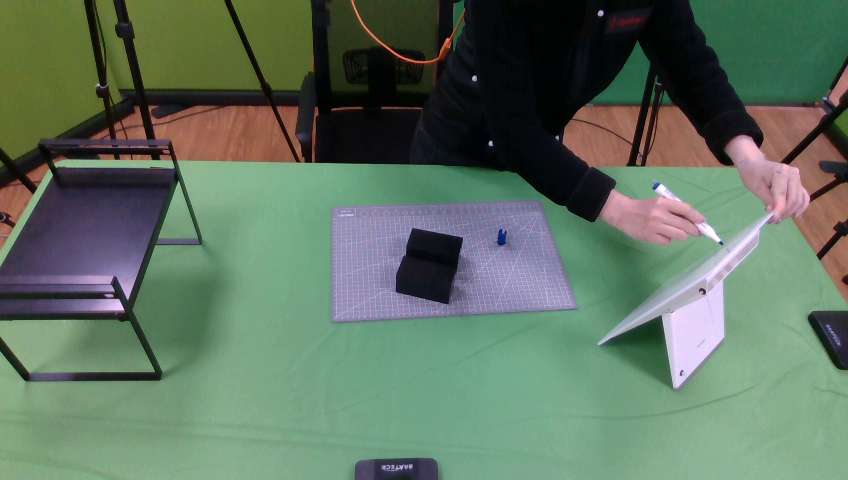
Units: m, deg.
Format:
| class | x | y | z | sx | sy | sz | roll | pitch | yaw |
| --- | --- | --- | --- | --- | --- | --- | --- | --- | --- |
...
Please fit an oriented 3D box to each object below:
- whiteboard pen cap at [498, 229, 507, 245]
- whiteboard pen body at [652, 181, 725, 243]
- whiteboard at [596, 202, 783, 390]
| class | x | y | z | sx | sy | sz | roll | pitch | yaw |
| --- | --- | --- | --- | --- | --- | --- | --- | --- | --- |
| whiteboard pen cap | 0.156 | -0.005 | 1.202 | 0.018 | 0.033 | 0.018 | 0 | 44 | 0 |
| whiteboard pen body | 0.419 | -0.043 | 0.958 | 0.140 | 0.017 | 0.017 | 43 | 55 | 9 |
| whiteboard | 0.460 | 0.112 | 0.967 | 0.217 | 0.306 | 0.143 | -31 | 74 | -29 |
